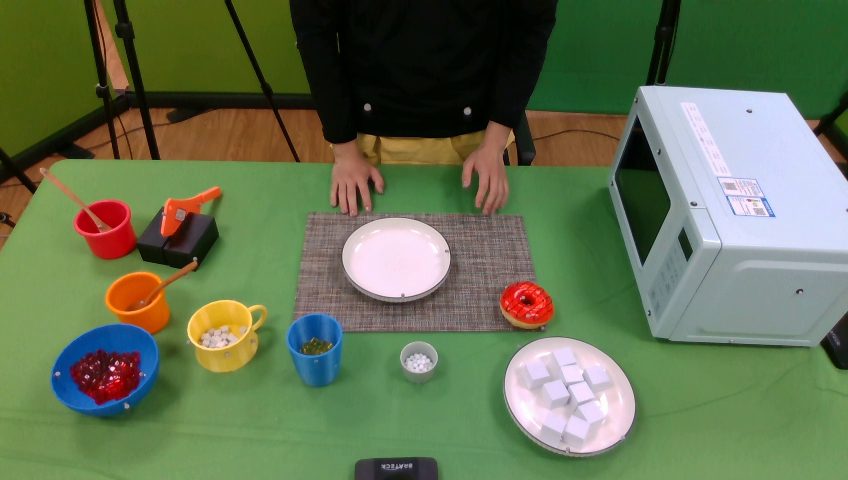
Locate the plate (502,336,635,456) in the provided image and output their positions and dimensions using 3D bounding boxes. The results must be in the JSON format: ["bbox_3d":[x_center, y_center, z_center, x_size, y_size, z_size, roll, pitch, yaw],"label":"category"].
[{"bbox_3d":[0.225,0.248,0.963,0.208,0.039,0.206,2,46,-2],"label":"plate"}]

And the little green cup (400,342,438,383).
[{"bbox_3d":[-0.010,0.202,0.991,0.061,0.039,0.061,2,47,-2],"label":"little green cup"}]

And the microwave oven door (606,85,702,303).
[{"bbox_3d":[0.423,-0.094,1.141,0.039,0.245,0.353,2,46,-1],"label":"microwave oven door"}]

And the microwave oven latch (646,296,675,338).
[{"bbox_3d":[0.412,0.134,1.061,0.030,0.029,0.078,4,45,1],"label":"microwave oven latch"}]

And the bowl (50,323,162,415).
[{"bbox_3d":[-0.472,0.209,0.924,0.151,0.077,0.150,3,45,-2],"label":"bowl"}]

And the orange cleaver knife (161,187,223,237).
[{"bbox_3d":[-0.448,-0.058,1.181,0.012,0.077,0.211,13,17,6],"label":"orange cleaver knife"}]

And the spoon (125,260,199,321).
[{"bbox_3d":[-0.434,0.083,0.999,0.022,0.194,0.041,35,34,-34],"label":"spoon"}]

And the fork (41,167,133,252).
[{"bbox_3d":[-0.624,-0.056,1.121,0.208,0.018,0.028,49,52,-15],"label":"fork"}]

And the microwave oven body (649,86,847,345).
[{"bbox_3d":[0.568,-0.053,1.118,0.326,0.261,0.439,2,45,-1],"label":"microwave oven body"}]

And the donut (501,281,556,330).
[{"bbox_3d":[0.185,0.116,1.079,0.099,0.048,0.098,3,45,-3],"label":"donut"}]

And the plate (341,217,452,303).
[{"bbox_3d":[-0.052,0.039,1.140,0.209,0.038,0.208,2,46,-2],"label":"plate"}]

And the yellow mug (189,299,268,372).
[{"bbox_3d":[-0.316,0.148,1.002,0.131,0.064,0.099,-32,56,-31],"label":"yellow mug"}]

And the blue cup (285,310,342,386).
[{"bbox_3d":[-0.170,0.179,0.958,0.093,0.101,0.092,2,44,-1],"label":"blue cup"}]
